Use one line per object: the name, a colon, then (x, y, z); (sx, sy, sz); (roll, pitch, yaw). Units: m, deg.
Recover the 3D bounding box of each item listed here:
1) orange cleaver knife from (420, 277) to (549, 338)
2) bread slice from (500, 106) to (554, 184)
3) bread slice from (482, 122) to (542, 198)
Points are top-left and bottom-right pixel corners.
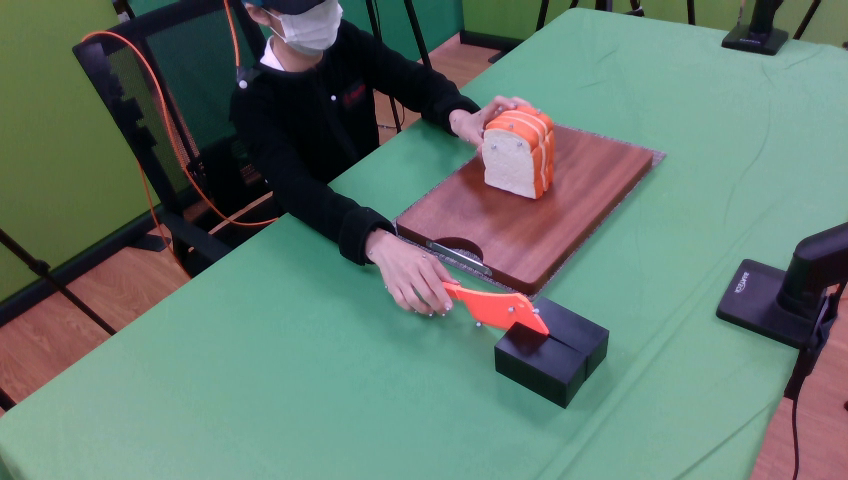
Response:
orange cleaver knife: (0.076, 0.089, 0.813); (0.209, 0.077, 0.012); (9, 43, 47)
bread slice: (0.169, -0.159, 1.006); (0.106, 0.135, 0.018); (23, 50, 25)
bread slice: (0.139, -0.130, 0.978); (0.104, 0.132, 0.019); (20, 54, 30)
